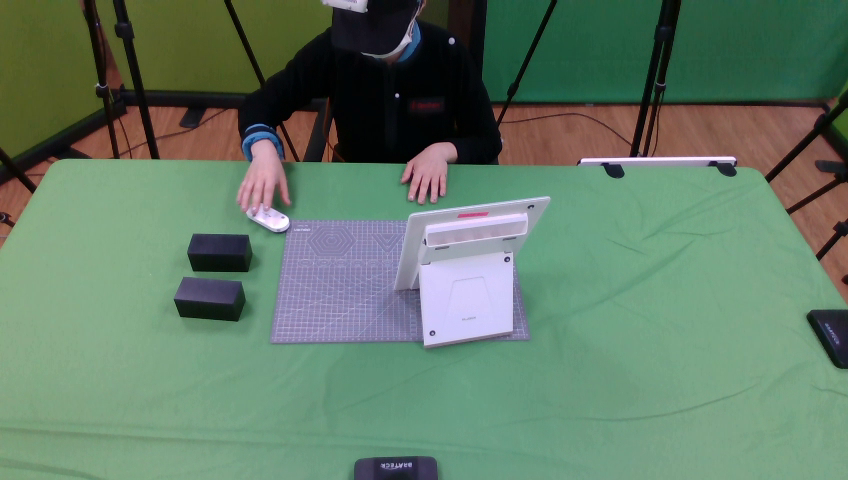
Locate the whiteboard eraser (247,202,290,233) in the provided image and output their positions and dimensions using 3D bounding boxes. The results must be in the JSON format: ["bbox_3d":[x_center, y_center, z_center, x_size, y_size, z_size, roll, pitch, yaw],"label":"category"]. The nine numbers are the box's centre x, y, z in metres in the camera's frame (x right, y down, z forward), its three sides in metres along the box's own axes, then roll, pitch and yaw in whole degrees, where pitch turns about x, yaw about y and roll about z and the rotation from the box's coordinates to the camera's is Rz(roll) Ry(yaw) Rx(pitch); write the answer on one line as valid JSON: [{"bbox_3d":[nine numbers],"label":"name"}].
[{"bbox_3d":[-0.314,-0.047,1.218,0.101,0.019,0.041,29,51,22],"label":"whiteboard eraser"}]

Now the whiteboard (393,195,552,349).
[{"bbox_3d":[0.077,0.071,0.977,0.217,0.306,0.143,-7,66,-11],"label":"whiteboard"}]
